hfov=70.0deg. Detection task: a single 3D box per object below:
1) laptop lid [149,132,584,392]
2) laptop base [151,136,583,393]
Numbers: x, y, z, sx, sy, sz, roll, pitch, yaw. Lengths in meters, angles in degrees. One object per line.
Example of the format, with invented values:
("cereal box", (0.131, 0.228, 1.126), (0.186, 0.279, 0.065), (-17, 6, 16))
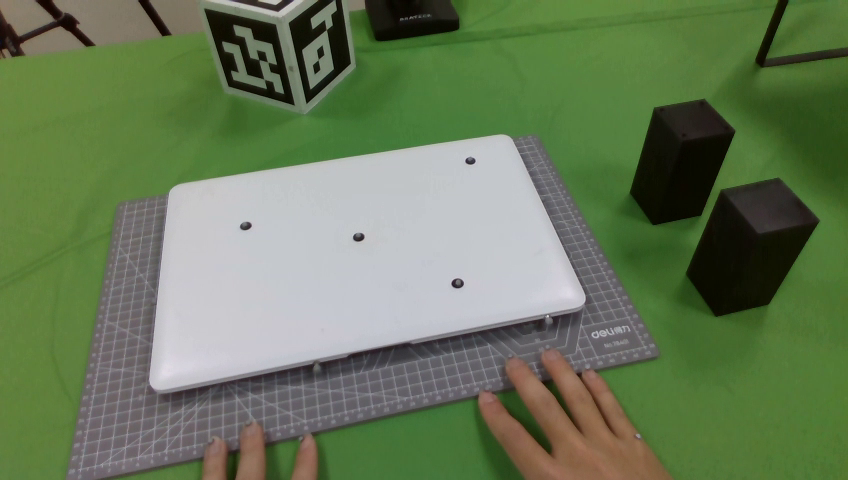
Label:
("laptop lid", (-0.060, 0.000, 0.550), (0.357, 0.013, 0.239), (-9, 49, -6))
("laptop base", (-0.060, 0.007, 0.560), (0.355, 0.023, 0.233), (-10, 50, -7))
